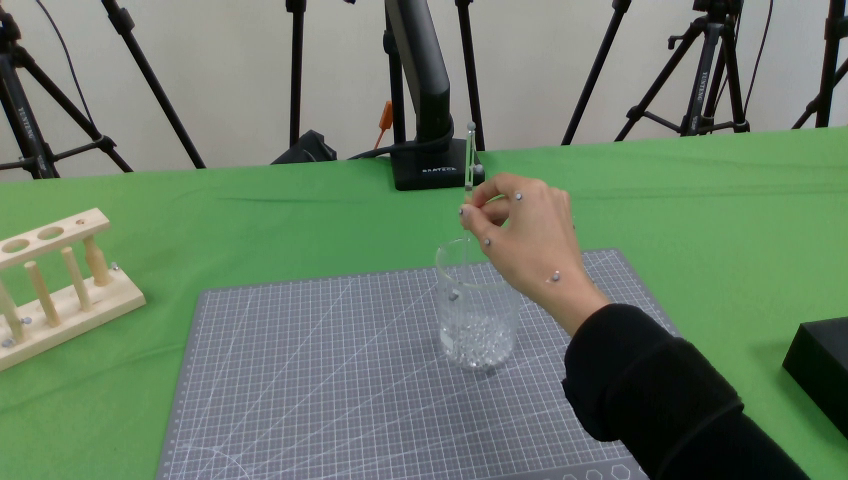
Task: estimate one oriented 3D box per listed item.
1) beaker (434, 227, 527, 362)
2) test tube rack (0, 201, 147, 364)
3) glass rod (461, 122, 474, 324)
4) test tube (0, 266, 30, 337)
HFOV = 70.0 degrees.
[{"bbox_3d":[0.044,0.049,0.525,0.083,0.101,0.074,27,44,34],"label":"beaker"},{"bbox_3d":[-0.388,0.057,0.533,0.242,0.086,0.066,-29,45,-34],"label":"test tube rack"},{"bbox_3d":[0.036,-0.005,0.508,0.008,0.201,0.008,0,34,1],"label":"glass rod"},{"bbox_3d":[-0.363,0.022,0.504,0.017,0.151,0.017,1,35,-1],"label":"test tube"}]
